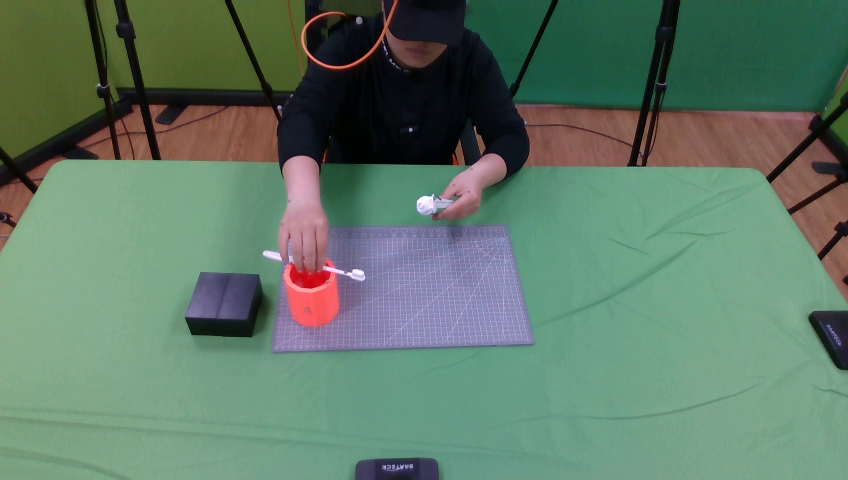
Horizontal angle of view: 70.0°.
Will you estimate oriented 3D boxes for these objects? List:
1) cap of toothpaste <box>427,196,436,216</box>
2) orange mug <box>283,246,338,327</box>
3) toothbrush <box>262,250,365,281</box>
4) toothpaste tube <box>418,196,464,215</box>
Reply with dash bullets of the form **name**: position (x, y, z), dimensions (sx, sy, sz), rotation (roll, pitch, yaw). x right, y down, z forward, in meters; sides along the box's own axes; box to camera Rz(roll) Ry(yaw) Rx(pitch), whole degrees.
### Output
- **cap of toothpaste**: position (0.013, -0.060, 1.062), dimensions (0.011, 0.037, 0.037), rotation (4, 46, 9)
- **orange mug**: position (-0.192, 0.074, 1.056), dimensions (0.083, 0.101, 0.125), rotation (5, 50, 1)
- **toothbrush**: position (-0.186, 0.041, 1.015), dimensions (0.182, 0.017, 0.014), rotation (13, 56, 8)
- **toothpaste tube**: position (0.028, -0.066, 1.151), dimensions (0.055, 0.165, 0.034), rotation (-19, 85, 21)
